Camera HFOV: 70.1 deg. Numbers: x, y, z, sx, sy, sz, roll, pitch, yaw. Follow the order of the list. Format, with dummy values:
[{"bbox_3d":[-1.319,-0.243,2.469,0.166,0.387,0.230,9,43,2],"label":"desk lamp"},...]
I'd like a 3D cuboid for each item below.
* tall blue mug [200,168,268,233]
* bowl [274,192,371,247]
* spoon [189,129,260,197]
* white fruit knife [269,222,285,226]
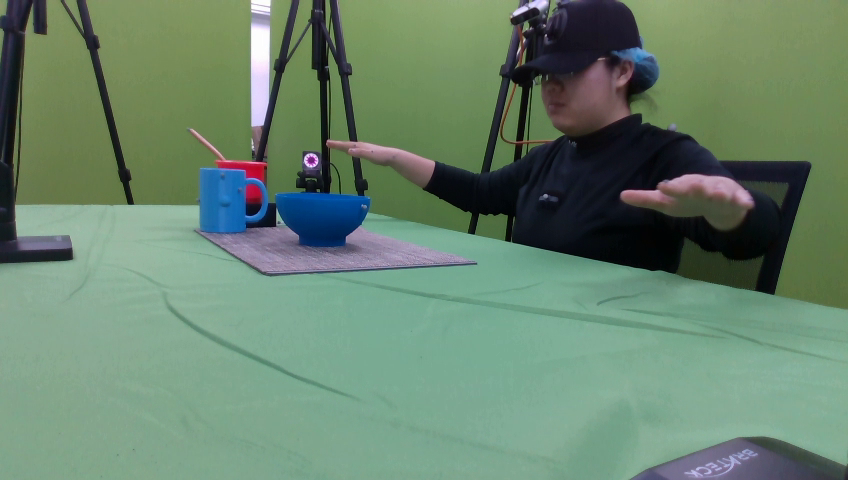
[{"bbox_3d":[-0.342,-0.071,1.072,0.077,0.108,0.108,8,9,38],"label":"tall blue mug"},{"bbox_3d":[-0.161,-0.033,0.958,0.151,0.077,0.151,3,7,0],"label":"bowl"},{"bbox_3d":[-0.389,-0.150,1.174,0.193,0.021,0.042,49,20,7],"label":"spoon"},{"bbox_3d":[-0.222,-0.038,1.261,0.208,0.016,0.027,-4,-18,-31],"label":"white fruit knife"}]
